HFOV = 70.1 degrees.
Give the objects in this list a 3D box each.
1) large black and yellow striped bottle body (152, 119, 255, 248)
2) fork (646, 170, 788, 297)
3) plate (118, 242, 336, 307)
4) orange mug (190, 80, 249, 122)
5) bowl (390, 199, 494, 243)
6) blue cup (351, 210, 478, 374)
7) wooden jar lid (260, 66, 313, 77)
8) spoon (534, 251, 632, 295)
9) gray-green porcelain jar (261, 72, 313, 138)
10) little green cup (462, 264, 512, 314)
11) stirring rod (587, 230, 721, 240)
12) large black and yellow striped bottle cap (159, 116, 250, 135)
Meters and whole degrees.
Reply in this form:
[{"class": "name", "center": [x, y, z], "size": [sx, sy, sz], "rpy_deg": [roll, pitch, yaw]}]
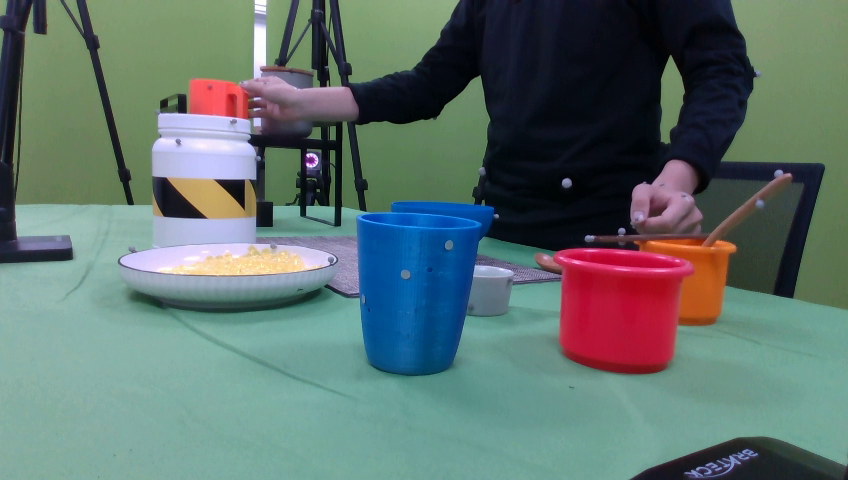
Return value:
[{"class": "large black and yellow striped bottle body", "center": [-0.296, -0.070, 0.819], "size": [0.131, 0.184, 0.130], "rpy_deg": [2, 7, 0]}, {"class": "fork", "center": [0.256, 0.004, 0.543], "size": [0.028, 0.018, 0.207], "rpy_deg": [3, -36, -9]}, {"class": "plate", "center": [-0.194, 0.033, 0.615], "size": [0.209, 0.038, 0.209], "rpy_deg": [2, 7, 0]}, {"class": "orange mug", "center": [-0.393, -0.257, 1.173], "size": [0.126, 0.100, 0.084], "rpy_deg": [1, 6, 25]}, {"class": "bowl", "center": [0.024, -0.015, 0.872], "size": [0.151, 0.077, 0.151], "rpy_deg": [3, 7, 0]}, {"class": "blue cup", "center": [-0.009, 0.034, 0.414], "size": [0.093, 0.100, 0.092], "rpy_deg": [4, 8, 0]}, {"class": "wooden jar lid", "center": [-0.283, -0.339, 1.244], "size": [0.108, 0.020, 0.108], "rpy_deg": [5, 8, 0]}, {"class": "spoon", "center": [0.194, 0.038, 0.753], "size": [0.042, 0.021, 0.193], "rpy_deg": [14, 2, -20]}, {"class": "gray-green porcelain jar", "center": [-0.284, -0.276, 1.253], "size": [0.106, 0.126, 0.106], "rpy_deg": [2, 8, 0]}, {"class": "little green cup", "center": [0.053, 0.047, 0.580], "size": [0.061, 0.038, 0.061], "rpy_deg": [3, 8, 0]}, {"class": "stirring rod", "center": [0.227, -0.005, 0.586], "size": [0.177, 0.006, 0.014], "rpy_deg": [-2, 6, -29]}, {"class": "large black and yellow striped bottle cap", "center": [-0.292, -0.153, 0.810], "size": [0.115, 0.019, 0.115], "rpy_deg": [3, 8, 0]}]
